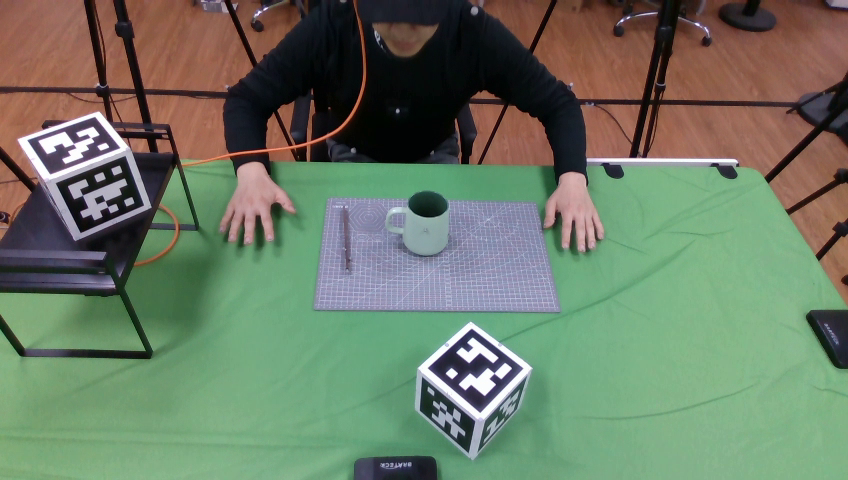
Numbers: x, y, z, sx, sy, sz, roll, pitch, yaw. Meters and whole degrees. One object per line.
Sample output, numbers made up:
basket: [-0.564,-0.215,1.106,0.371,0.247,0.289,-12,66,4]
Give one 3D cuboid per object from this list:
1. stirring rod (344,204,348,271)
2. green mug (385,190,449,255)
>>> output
stirring rod: [-0.154,-0.007,1.192,0.006,0.014,0.175,-7,47,-2]
green mug: [-0.013,-0.033,1.166,0.125,0.105,0.092,2,46,-2]
